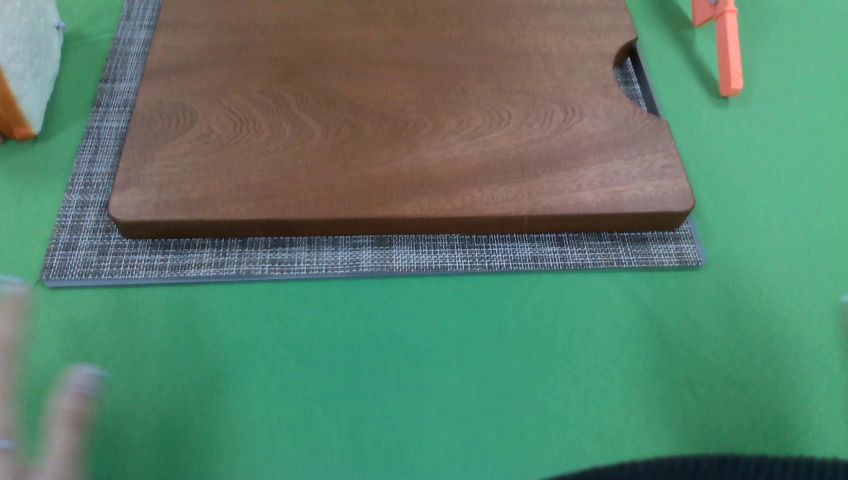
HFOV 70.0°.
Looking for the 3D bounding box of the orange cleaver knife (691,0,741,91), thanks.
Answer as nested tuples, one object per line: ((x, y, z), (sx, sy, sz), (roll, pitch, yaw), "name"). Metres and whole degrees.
((0.258, -0.231, 0.541), (0.012, 0.077, 0.211), (0, 87, -5), "orange cleaver knife")

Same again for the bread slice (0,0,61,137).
((-0.299, -0.158, 0.442), (0.019, 0.106, 0.130), (-4, 52, -9), "bread slice")
